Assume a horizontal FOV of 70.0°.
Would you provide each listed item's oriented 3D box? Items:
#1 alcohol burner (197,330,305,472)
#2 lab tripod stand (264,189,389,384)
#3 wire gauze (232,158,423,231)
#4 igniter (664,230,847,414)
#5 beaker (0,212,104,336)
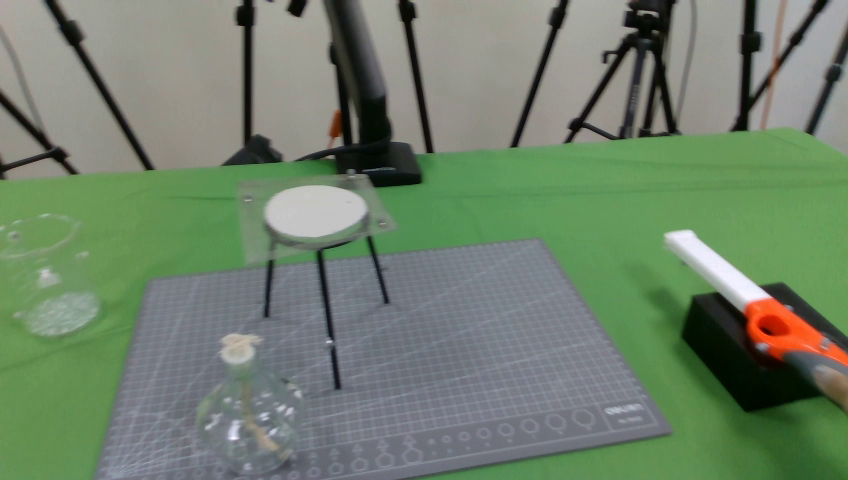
[{"bbox_3d":[-0.128,0.113,0.445,0.078,0.120,0.077,2,32,-1],"label":"alcohol burner"},{"bbox_3d":[-0.088,0.034,0.549,0.148,0.132,0.147,2,34,-1],"label":"lab tripod stand"},{"bbox_3d":[-0.082,-0.039,0.508,0.125,0.011,0.120,-15,31,-35],"label":"wire gauze"},{"bbox_3d":[0.298,0.064,0.531,0.057,0.025,0.273,-9,31,-9],"label":"igniter"},{"bbox_3d":[-0.353,0.033,0.578,0.073,0.101,0.084,24,39,30],"label":"beaker"}]
